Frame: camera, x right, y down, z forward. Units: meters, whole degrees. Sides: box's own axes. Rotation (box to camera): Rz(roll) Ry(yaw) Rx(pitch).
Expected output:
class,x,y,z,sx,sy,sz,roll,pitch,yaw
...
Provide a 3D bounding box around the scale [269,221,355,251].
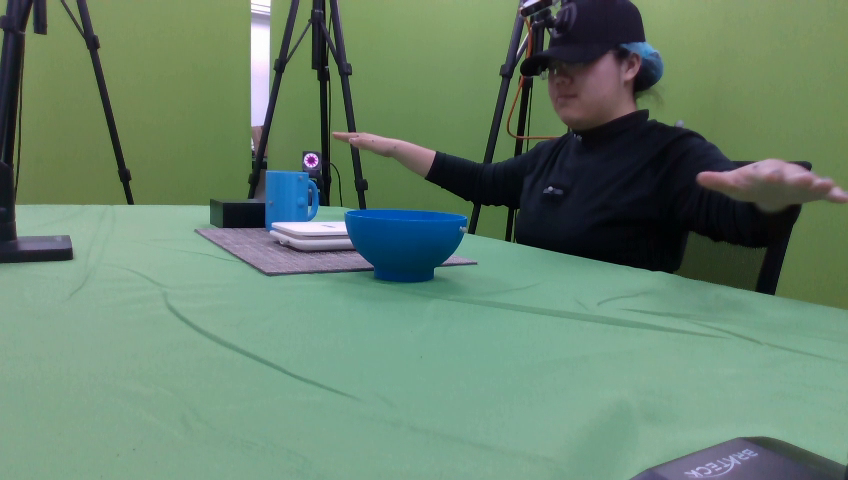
class,x,y,z,sx,sy,sz,roll,pitch,yaw
scale,-0.130,-0.008,0.959,0.202,0.031,0.148,-1,9,-32

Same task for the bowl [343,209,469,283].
class,x,y,z,sx,sy,sz,roll,pitch,yaw
bowl,-0.023,0.007,0.731,0.151,0.077,0.151,3,7,0

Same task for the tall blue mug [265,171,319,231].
class,x,y,z,sx,sy,sz,roll,pitch,yaw
tall blue mug,-0.248,-0.073,1.121,0.078,0.108,0.107,3,8,8
